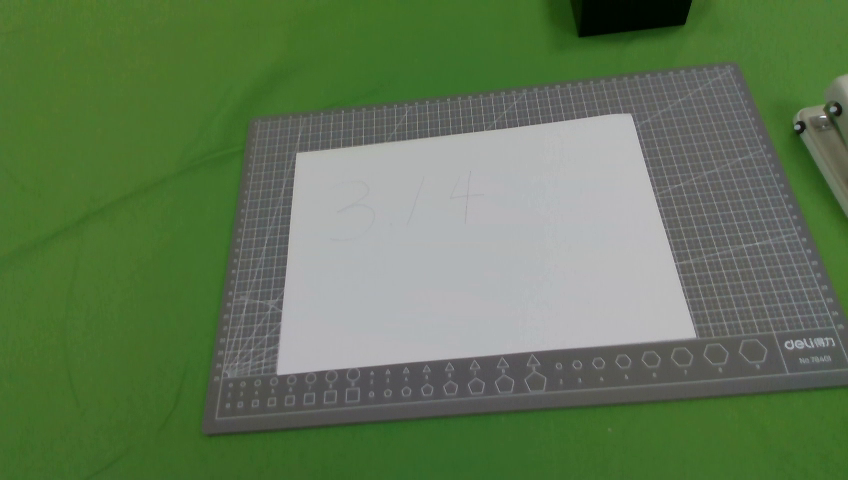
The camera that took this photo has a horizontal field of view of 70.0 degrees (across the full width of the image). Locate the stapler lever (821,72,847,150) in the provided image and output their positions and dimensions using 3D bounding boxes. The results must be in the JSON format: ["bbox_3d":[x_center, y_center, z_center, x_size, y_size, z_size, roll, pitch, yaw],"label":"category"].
[{"bbox_3d":[0.328,-0.073,0.443,0.027,0.040,0.117,-11,60,5],"label":"stapler lever"}]

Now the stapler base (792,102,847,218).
[{"bbox_3d":[0.330,-0.061,0.465,0.041,0.024,0.129,-11,60,5],"label":"stapler base"}]
